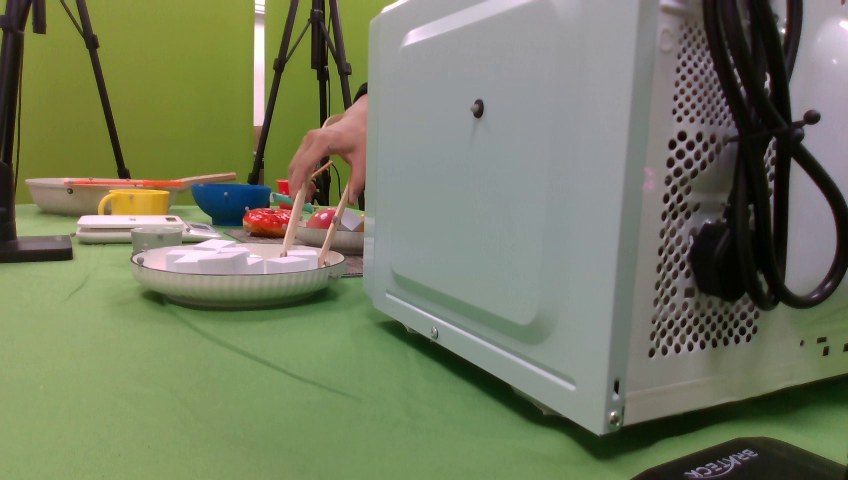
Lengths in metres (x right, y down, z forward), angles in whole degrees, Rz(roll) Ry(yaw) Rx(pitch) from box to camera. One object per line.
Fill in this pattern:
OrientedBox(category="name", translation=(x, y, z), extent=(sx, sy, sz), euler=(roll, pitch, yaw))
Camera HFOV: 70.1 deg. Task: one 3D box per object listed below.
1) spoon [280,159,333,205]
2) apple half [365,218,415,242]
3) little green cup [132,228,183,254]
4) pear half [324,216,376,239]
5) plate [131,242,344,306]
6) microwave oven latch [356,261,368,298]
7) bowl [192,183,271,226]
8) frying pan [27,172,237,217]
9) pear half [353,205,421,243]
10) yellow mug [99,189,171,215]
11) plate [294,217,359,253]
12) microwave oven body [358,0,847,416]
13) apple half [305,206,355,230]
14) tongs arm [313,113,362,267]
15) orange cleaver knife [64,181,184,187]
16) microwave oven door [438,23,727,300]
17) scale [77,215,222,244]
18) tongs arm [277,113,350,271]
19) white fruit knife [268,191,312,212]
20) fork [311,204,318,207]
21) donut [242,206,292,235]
OrientedBox(category="spoon", translation=(-0.317, -0.159, 1.640), extent=(0.194, 0.022, 0.041), euler=(-49, 32, -20))
OrientedBox(category="apple half", translation=(-0.053, -0.019, 0.967), extent=(0.081, 0.033, 0.081), euler=(-3, 12, 1))
OrientedBox(category="little green cup", translation=(-0.342, 0.006, 0.779), extent=(0.061, 0.038, 0.061), euler=(2, 8, 0))
OrientedBox(category="pear half", translation=(-0.119, -0.023, 0.996), extent=(0.088, 0.031, 0.070), euler=(-5, 23, -29))
OrientedBox(category="plate", translation=(-0.187, 0.033, 0.625), extent=(0.208, 0.039, 0.207), euler=(2, 7, 0))
OrientedBox(category="microwave oven latch", translation=(-0.019, 0.033, 0.530), extent=(0.079, 0.029, 0.030), euler=(-1, 7, -27))
OrientedBox(category="bowl", translation=(-0.382, -0.071, 1.202), extent=(0.151, 0.077, 0.151), euler=(3, 7, 0))
OrientedBox(category="frying pan", translation=(-0.624, -0.118, 1.387), extent=(0.305, 0.102, 0.490), euler=(8, 17, 32))
OrientedBox(category="pear half", translation=(-0.051, -0.024, 0.905), extent=(0.110, 0.056, 0.076), euler=(2, -3, -38))
OrientedBox(category="yellow mug", translation=(-0.519, -0.055, 1.080), extent=(0.099, 0.064, 0.131), euler=(7, 9, 26))
OrientedBox(category="plate", translation=(-0.103, -0.009, 0.945), extent=(0.209, 0.038, 0.209), euler=(2, 7, 0))
OrientedBox(category="microwave oven body", translation=(0.211, -0.047, 0.474), extent=(0.444, 0.260, 0.324), euler=(-1, 7, -28))
OrientedBox(category="apple half", translation=(-0.138, -0.025, 0.917), extent=(0.081, 0.053, 0.074), euler=(-1, 11, -43))
OrientedBox(category="tongs arm", translation=(-0.115, -0.082, 0.801), extent=(0.051, 0.026, 0.384), euler=(7, 34, 3))
OrientedBox(category="orange cleaver knife", translation=(-0.596, -0.113, 1.212), extent=(0.212, 0.012, 0.077), euler=(-3, 7, -41))
OrientedBox(category="microwave oven door", translation=(0.181, -0.073, 0.621), extent=(0.358, 0.243, 0.039), euler=(-2, 8, -29))
OrientedBox(category="scale", translation=(-0.434, -0.019, 0.963), extent=(0.202, 0.031, 0.148), euler=(-1, 9, -27))
OrientedBox(category="tongs arm", translation=(-0.141, -0.084, 0.800), extent=(0.028, 0.028, 0.387), euler=(2, 34, 2))
OrientedBox(category="white fruit knife", translation=(-0.364, -0.105, 1.464), extent=(0.208, 0.027, 0.016), euler=(15, -1, -34))
OrientedBox(category="fork", translation=(-0.356, -0.105, 1.526), extent=(0.208, 0.018, 0.028), euler=(16, -5, -41))
OrientedBox(category="donut", translation=(-0.262, -0.032, 1.039), extent=(0.099, 0.048, 0.099), euler=(4, 10, 0))
